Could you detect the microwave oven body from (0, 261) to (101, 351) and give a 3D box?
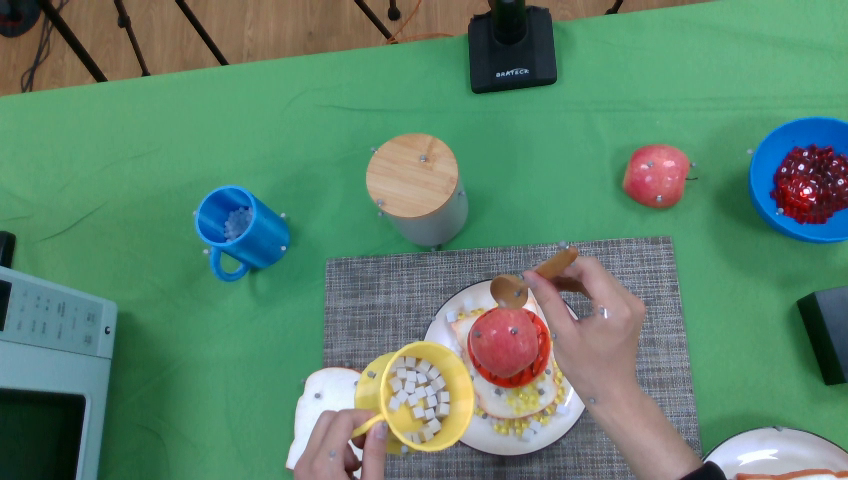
[{"bbox_3d":[-0.602,0.261,0.702,0.325,0.262,0.439,-4,74,9],"label":"microwave oven body"}]

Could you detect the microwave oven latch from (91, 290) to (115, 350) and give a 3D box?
[{"bbox_3d":[-0.442,0.109,0.819,0.030,0.030,0.078,0,75,10],"label":"microwave oven latch"}]

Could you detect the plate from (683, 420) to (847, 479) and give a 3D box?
[{"bbox_3d":[0.375,0.298,0.638,0.209,0.038,0.208,-3,73,10],"label":"plate"}]

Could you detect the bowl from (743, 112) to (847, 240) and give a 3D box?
[{"bbox_3d":[0.445,-0.064,0.709,0.151,0.077,0.150,-3,74,10],"label":"bowl"}]

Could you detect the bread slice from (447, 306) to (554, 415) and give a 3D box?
[{"bbox_3d":[0.100,0.143,0.738,0.107,0.018,0.133,-20,65,1],"label":"bread slice"}]

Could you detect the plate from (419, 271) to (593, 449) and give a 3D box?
[{"bbox_3d":[0.095,0.142,0.730,0.207,0.039,0.206,-3,74,10],"label":"plate"}]

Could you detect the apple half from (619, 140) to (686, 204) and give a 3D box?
[{"bbox_3d":[0.288,-0.091,0.759,0.074,0.054,0.080,18,78,17],"label":"apple half"}]

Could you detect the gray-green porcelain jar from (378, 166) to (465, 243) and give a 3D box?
[{"bbox_3d":[-0.004,-0.059,0.763,0.105,0.127,0.105,-3,73,9],"label":"gray-green porcelain jar"}]

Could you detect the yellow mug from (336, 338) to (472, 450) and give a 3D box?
[{"bbox_3d":[-0.024,0.154,0.576,0.131,0.064,0.099,-21,83,-33],"label":"yellow mug"}]

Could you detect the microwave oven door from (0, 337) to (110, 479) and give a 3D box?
[{"bbox_3d":[-0.458,0.290,0.662,0.039,0.245,0.353,-4,73,10],"label":"microwave oven door"}]

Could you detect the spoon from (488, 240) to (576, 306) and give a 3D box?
[{"bbox_3d":[0.093,0.032,0.537,0.041,0.194,0.021,45,75,4],"label":"spoon"}]

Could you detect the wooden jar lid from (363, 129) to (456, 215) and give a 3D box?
[{"bbox_3d":[-0.016,-0.077,0.703,0.108,0.021,0.107,-2,71,7],"label":"wooden jar lid"}]

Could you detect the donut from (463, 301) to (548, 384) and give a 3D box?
[{"bbox_3d":[0.095,0.118,0.707,0.099,0.048,0.098,-3,74,10],"label":"donut"}]

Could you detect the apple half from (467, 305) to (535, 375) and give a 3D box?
[{"bbox_3d":[0.086,0.108,0.673,0.081,0.033,0.080,-6,68,15],"label":"apple half"}]

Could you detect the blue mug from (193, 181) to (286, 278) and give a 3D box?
[{"bbox_3d":[-0.247,-0.006,0.801,0.082,0.106,0.116,17,77,15],"label":"blue mug"}]

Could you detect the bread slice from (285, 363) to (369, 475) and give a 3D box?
[{"bbox_3d":[-0.116,0.220,0.757,0.104,0.019,0.131,4,77,10],"label":"bread slice"}]
